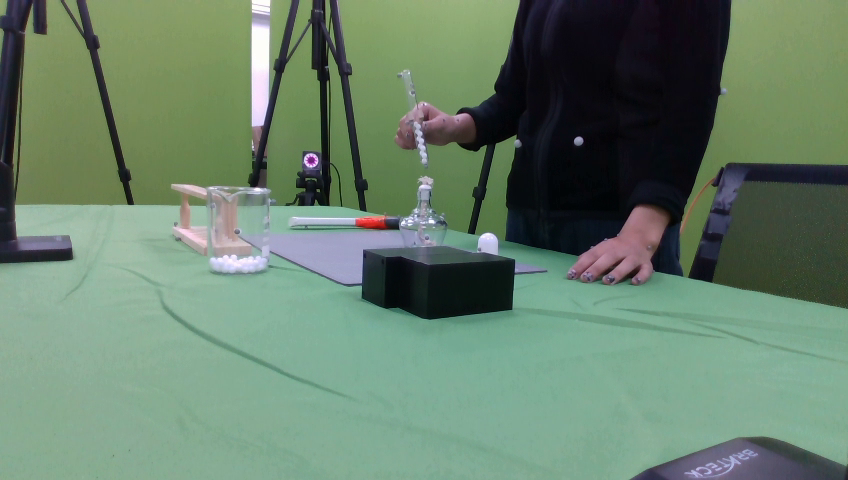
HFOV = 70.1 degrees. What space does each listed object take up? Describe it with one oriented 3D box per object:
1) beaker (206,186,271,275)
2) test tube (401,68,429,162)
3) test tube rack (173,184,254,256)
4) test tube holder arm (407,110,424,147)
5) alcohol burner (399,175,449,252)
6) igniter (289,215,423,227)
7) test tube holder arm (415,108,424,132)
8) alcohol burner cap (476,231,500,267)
[{"bbox_3d":[-0.220,-0.012,0.717,0.074,0.100,0.084,2,8,-3],"label":"beaker"},{"bbox_3d":[-0.013,-0.193,0.933,0.017,0.150,0.017,-12,-5,-1],"label":"test tube"},{"bbox_3d":[-0.328,-0.036,0.927,0.067,0.085,0.241,-2,9,-32],"label":"test tube rack"},{"bbox_3d":[-0.013,-0.183,1.000,0.013,0.015,0.178,-10,-6,3],"label":"test tube holder arm"},{"bbox_3d":[0.000,-0.041,0.937,0.078,0.119,0.078,0,8,0],"label":"alcohol burner"},{"bbox_3d":[-0.133,-0.038,1.232,0.278,0.025,0.057,-1,-2,-25],"label":"igniter"},{"bbox_3d":[-0.008,-0.188,0.956,0.010,0.015,0.088,-10,-6,-5],"label":"test tube holder arm"},{"bbox_3d":[0.088,0.012,0.830,0.034,0.048,0.034,2,7,0],"label":"alcohol burner cap"}]
